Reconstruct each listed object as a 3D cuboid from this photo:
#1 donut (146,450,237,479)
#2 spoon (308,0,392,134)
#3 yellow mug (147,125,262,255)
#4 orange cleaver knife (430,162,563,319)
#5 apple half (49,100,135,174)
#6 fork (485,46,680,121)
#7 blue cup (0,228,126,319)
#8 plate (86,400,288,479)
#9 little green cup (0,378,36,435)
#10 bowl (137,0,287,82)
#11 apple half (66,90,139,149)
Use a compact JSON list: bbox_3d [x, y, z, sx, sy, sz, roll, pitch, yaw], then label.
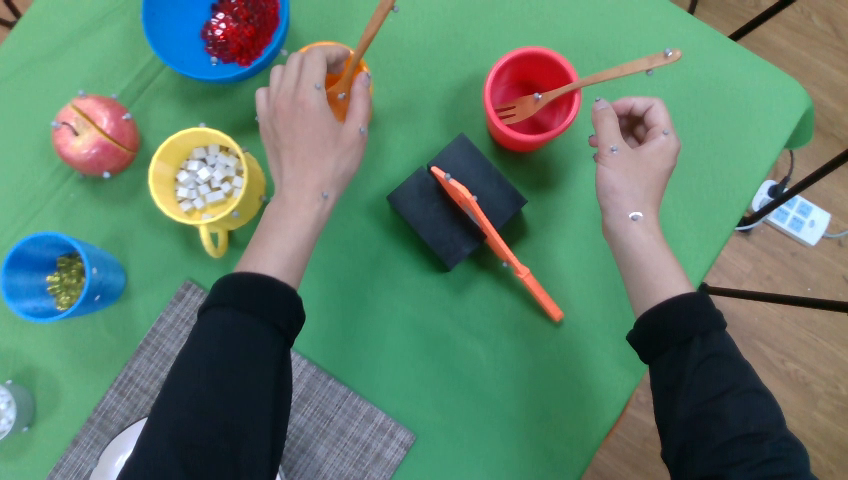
[{"bbox_3d":[-0.235,0.261,0.608,0.099,0.048,0.099,0,87,2],"label":"donut"},{"bbox_3d":[-0.070,-0.181,0.605,0.041,0.194,0.021,44,42,4],"label":"spoon"},{"bbox_3d":[-0.226,-0.049,0.636,0.100,0.064,0.130,-8,86,0],"label":"yellow mug"},{"bbox_3d":[0.075,0.003,0.622,0.012,0.076,0.213,-42,115,-5],"label":"orange cleaver knife"},{"bbox_3d":[-0.354,-0.100,0.638,0.081,0.074,0.053,40,89,1],"label":"apple half"},{"bbox_3d":[0.148,-0.154,0.603,0.206,0.019,0.028,-11,71,41],"label":"fork"},{"bbox_3d":[-0.354,0.035,0.613,0.093,0.100,0.092,0,85,-1],"label":"blue cup"},{"bbox_3d":[-0.238,0.267,0.619,0.209,0.038,0.208,0,85,0],"label":"plate"},{"bbox_3d":[-0.443,0.173,0.633,0.061,0.039,0.061,0,85,1],"label":"little green cup"},{"bbox_3d":[-0.213,-0.232,0.646,0.151,0.077,0.151,0,86,0],"label":"bowl"},{"bbox_3d":[-0.329,-0.132,0.640,0.081,0.081,0.033,40,86,4],"label":"apple half"}]
